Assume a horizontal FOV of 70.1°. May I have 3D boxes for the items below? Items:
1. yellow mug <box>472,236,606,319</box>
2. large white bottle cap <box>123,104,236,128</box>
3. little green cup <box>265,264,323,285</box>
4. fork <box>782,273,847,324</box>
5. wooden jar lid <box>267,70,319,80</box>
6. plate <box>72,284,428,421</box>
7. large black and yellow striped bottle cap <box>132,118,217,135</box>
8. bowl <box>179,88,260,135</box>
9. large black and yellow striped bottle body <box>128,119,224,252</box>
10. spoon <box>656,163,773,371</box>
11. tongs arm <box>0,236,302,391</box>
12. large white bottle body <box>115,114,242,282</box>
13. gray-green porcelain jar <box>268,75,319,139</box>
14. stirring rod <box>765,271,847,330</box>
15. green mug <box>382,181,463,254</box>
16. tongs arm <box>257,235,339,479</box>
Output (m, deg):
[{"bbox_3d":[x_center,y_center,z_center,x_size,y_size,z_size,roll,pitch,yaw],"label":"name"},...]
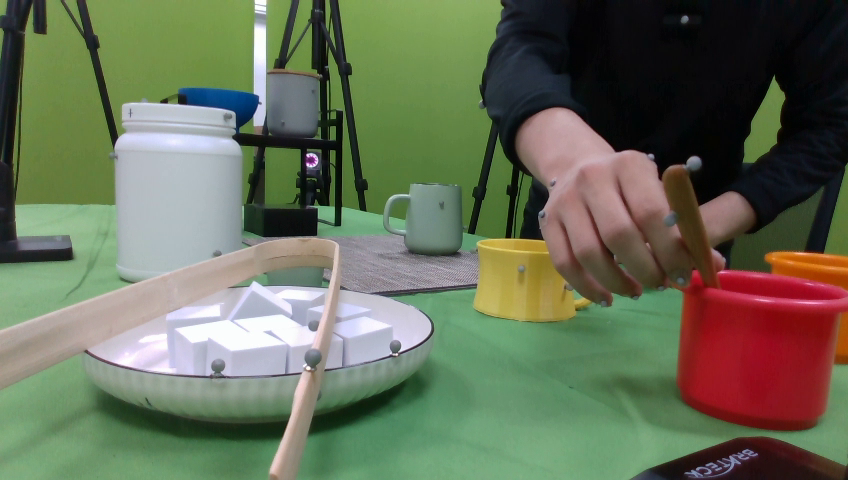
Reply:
[{"bbox_3d":[0.114,0.034,0.590,0.131,0.064,0.100,2,6,-7],"label":"yellow mug"},{"bbox_3d":[-0.266,-0.135,0.663,0.115,0.018,0.115,3,7,0],"label":"large white bottle cap"},{"bbox_3d":[-0.134,0.034,0.628,0.061,0.038,0.061,3,7,0],"label":"little green cup"},{"bbox_3d":[0.332,0.018,0.443,0.028,0.018,0.207,-3,-35,-16],"label":"fork"},{"bbox_3d":[-0.275,-0.339,1.271,0.108,0.020,0.108,5,6,0],"label":"wooden jar lid"},{"bbox_3d":[-0.102,0.067,0.381,0.208,0.039,0.207,3,7,0],"label":"plate"},{"bbox_3d":[-0.359,-0.164,0.875,0.115,0.019,0.115,2,6,0],"label":"large black and yellow striped bottle cap"},{"bbox_3d":[-0.400,-0.248,1.188,0.151,0.077,0.151,3,6,0],"label":"bowl"},{"bbox_3d":[-0.361,-0.081,0.887,0.131,0.184,0.130,2,8,0],"label":"large black and yellow striped bottle body"},{"bbox_3d":[0.161,0.025,0.343,0.041,0.194,0.021,-10,42,34],"label":"spoon"},{"bbox_3d":[-0.157,0.037,0.347,0.028,0.028,0.388,-2,8,11],"label":"tongs arm"},{"bbox_3d":[-0.270,-0.051,0.673,0.131,0.184,0.130,2,8,0],"label":"large white bottle body"},{"bbox_3d":[-0.277,-0.278,1.280,0.106,0.126,0.106,2,8,0],"label":"gray-green porcelain jar"},{"bbox_3d":[0.352,0.020,0.481,0.176,0.006,0.014,-40,-7,17],"label":"stirring rod"},{"bbox_3d":[-0.001,-0.036,0.922,0.126,0.105,0.092,0,8,-16],"label":"green mug"},{"bbox_3d":[-0.074,0.040,0.345,0.051,0.026,0.384,-1,10,-3],"label":"tongs arm"}]
